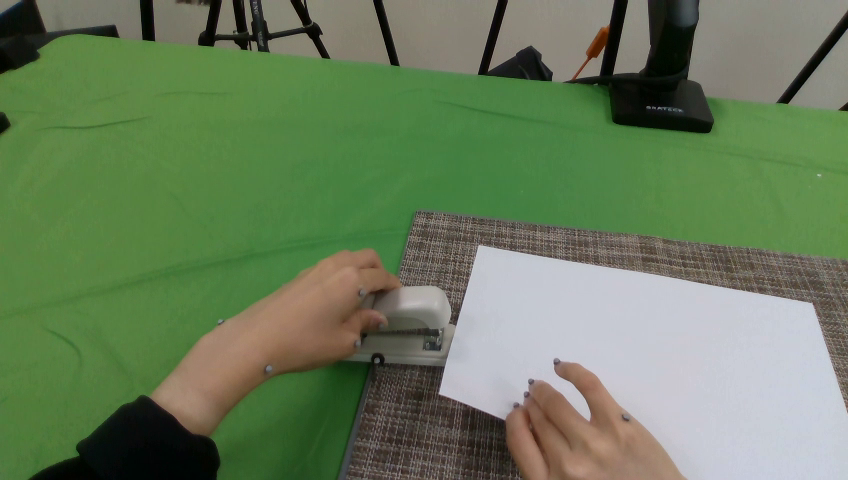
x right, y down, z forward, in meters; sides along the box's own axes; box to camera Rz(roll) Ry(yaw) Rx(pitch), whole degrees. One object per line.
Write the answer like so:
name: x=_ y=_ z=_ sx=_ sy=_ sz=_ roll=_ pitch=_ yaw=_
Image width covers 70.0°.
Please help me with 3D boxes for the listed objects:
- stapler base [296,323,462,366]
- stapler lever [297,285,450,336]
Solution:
stapler base: x=-0.036 y=0.073 z=0.478 sx=0.130 sy=0.024 sz=0.041 roll=2 pitch=38 yaw=7
stapler lever: x=-0.039 y=0.054 z=0.461 sx=0.118 sy=0.040 sz=0.026 roll=1 pitch=38 yaw=8
